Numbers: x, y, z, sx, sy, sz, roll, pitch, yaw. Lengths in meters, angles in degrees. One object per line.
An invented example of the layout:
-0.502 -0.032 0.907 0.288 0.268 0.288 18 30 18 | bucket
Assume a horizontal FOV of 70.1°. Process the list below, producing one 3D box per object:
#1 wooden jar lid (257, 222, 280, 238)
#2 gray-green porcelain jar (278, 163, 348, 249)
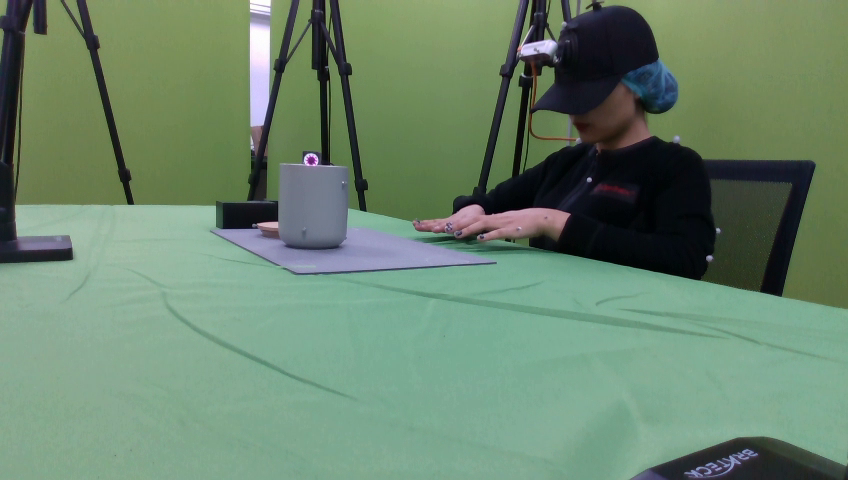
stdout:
-0.234 -0.018 1.053 0.108 0.020 0.108 2 9 0 | wooden jar lid
-0.171 -0.053 0.934 0.106 0.126 0.106 2 7 0 | gray-green porcelain jar
